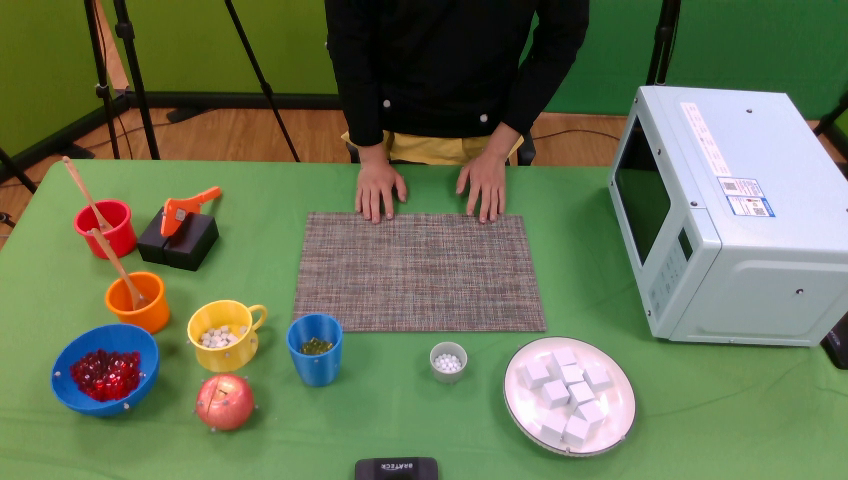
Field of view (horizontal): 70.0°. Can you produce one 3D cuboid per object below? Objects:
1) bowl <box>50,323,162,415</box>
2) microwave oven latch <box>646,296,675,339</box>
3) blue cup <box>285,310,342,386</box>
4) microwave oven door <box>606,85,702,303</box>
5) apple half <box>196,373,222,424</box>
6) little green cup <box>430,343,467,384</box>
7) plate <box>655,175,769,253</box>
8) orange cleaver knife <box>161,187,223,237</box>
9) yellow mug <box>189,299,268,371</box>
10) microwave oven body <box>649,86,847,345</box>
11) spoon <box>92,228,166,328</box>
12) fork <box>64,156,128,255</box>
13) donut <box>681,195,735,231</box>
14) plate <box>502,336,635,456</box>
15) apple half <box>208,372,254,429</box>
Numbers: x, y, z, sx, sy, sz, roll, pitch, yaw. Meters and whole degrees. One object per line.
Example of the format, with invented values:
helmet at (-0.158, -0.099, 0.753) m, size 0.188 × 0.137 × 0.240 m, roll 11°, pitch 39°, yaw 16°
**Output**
bowl at (-0.472, 0.209, 0.924) m, size 0.151 × 0.077 × 0.150 m, roll 2°, pitch 45°, yaw -2°
microwave oven latch at (0.412, 0.134, 1.061) m, size 0.030 × 0.029 × 0.078 m, roll 4°, pitch 45°, yaw 1°
blue cup at (-0.170, 0.179, 0.958) m, size 0.093 × 0.101 × 0.092 m, roll 1°, pitch 44°, yaw -1°
microwave oven door at (0.423, -0.094, 1.141) m, size 0.039 × 0.245 × 0.353 m, roll 2°, pitch 46°, yaw -1°
apple half at (-0.322, 0.239, 0.907) m, size 0.033 × 0.081 × 0.081 m, roll 7°, pitch 46°, yaw -1°
little green cup at (0.039, 0.203, 0.994) m, size 0.061 × 0.039 × 0.061 m, roll 2°, pitch 46°, yaw -2°
plate at (0.555, -0.046, 1.183) m, size 0.209 × 0.038 × 0.208 m, roll 2°, pitch 46°, yaw -2°
orange cleaver knife at (-0.448, -0.058, 1.180) m, size 0.012 × 0.077 × 0.211 m, roll 13°, pitch 17°, yaw 6°
yellow mug at (-0.316, 0.148, 1.002) m, size 0.131 × 0.064 × 0.099 m, roll -32°, pitch 56°, yaw -31°
microwave oven body at (0.568, -0.053, 1.118) m, size 0.326 × 0.261 × 0.439 m, roll 2°, pitch 45°, yaw -1°
spoon at (-0.495, 0.063, 1.014) m, size 0.041 × 0.194 × 0.021 m, roll -34°, pitch 12°, yaw -32°
fork at (-0.614, -0.064, 1.130) m, size 0.028 × 0.018 × 0.207 m, roll -29°, pitch 97°, yaw -17°
donut at (0.551, -0.054, 1.177) m, size 0.099 × 0.048 × 0.098 m, roll 1°, pitch 36°, yaw 0°
plate at (0.225, 0.248, 0.963) m, size 0.208 × 0.039 × 0.206 m, roll 2°, pitch 46°, yaw -2°
apple half at (-0.283, 0.244, 0.908) m, size 0.053 × 0.075 × 0.080 m, roll 7°, pitch 42°, yaw -1°
